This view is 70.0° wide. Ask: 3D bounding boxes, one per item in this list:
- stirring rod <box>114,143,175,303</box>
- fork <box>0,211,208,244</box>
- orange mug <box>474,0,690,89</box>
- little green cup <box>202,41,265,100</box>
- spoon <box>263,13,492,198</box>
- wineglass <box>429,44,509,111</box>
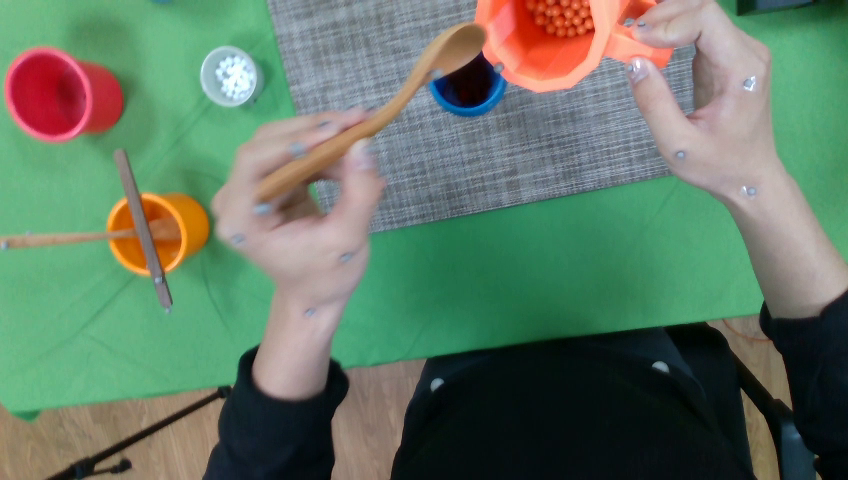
[{"bbox_3d":[-0.298,-0.016,0.648,0.014,0.006,0.177,-11,101,8],"label":"stirring rod"},{"bbox_3d":[-0.340,-0.012,0.656,0.208,0.018,0.028,-8,112,-37],"label":"fork"},{"bbox_3d":[0.106,-0.154,0.397,0.125,0.100,0.084,27,140,17],"label":"orange mug"},{"bbox_3d":[-0.205,-0.183,0.661,0.061,0.038,0.062,1,103,6],"label":"little green cup"},{"bbox_3d":[-0.015,-0.077,0.322,0.021,0.193,0.042,40,142,-2],"label":"spoon"},{"bbox_3d":[0.044,-0.158,0.571,0.073,0.172,0.074,1,102,6],"label":"wineglass"}]
